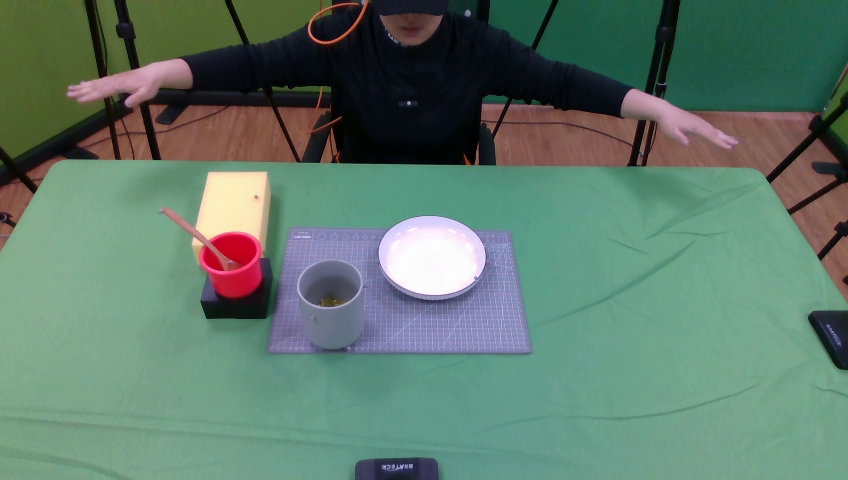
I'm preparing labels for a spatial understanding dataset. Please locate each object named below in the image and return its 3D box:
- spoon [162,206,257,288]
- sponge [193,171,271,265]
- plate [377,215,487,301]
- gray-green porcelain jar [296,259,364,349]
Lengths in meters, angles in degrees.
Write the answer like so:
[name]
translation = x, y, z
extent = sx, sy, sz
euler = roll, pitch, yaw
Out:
[spoon]
translation = -0.355, 0.011, 1.006
extent = 0.194, 0.021, 0.041
euler = 48, 45, -19
[sponge]
translation = -0.371, -0.047, 1.189
extent = 0.118, 0.061, 0.205
euler = -3, 47, -6
[plate]
translation = 0.014, 0.037, 1.147
extent = 0.208, 0.039, 0.206
euler = 2, 46, -2
[gray-green porcelain jar]
translation = -0.153, 0.111, 1.003
extent = 0.106, 0.127, 0.105
euler = 2, 46, -2
